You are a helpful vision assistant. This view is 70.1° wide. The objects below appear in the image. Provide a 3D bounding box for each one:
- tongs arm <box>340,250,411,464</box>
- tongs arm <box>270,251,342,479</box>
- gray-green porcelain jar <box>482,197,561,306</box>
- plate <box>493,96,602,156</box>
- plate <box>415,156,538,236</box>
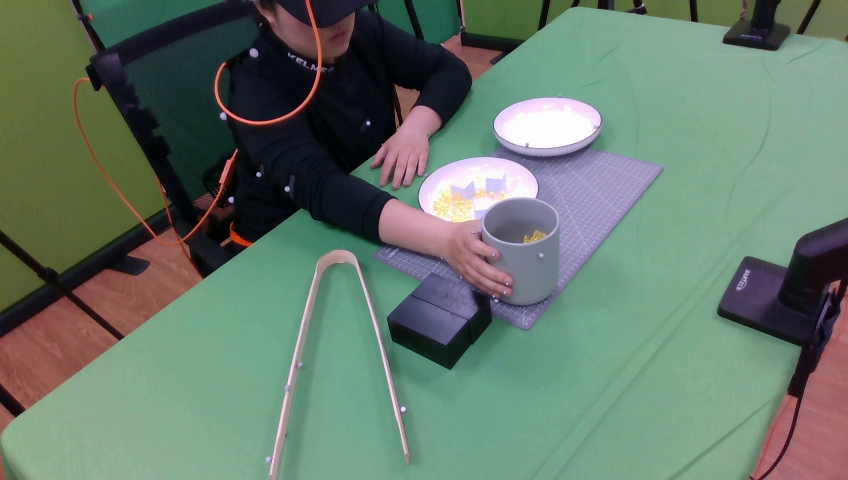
[{"bbox_3d":[-0.070,0.136,0.830,0.028,0.028,0.384,-18,40,-5],"label":"tongs arm"},{"bbox_3d":[-0.152,0.148,0.826,0.051,0.026,0.382,-6,39,3],"label":"tongs arm"},{"bbox_3d":[0.138,0.020,0.846,0.106,0.127,0.105,-5,40,5],"label":"gray-green porcelain jar"},{"bbox_3d":[0.238,-0.218,1.180,0.209,0.038,0.208,-4,39,4],"label":"plate"},{"bbox_3d":[0.090,-0.072,1.034,0.207,0.039,0.206,-5,40,5],"label":"plate"}]
